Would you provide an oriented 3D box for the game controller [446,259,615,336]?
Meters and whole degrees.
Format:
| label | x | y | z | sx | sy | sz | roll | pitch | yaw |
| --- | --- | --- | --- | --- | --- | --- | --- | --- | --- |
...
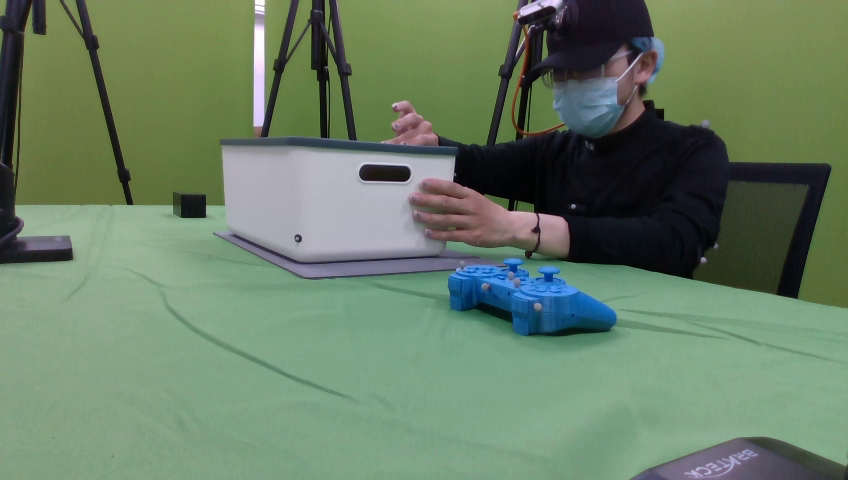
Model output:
| label | x | y | z | sx | sy | sz | roll | pitch | yaw |
| --- | --- | --- | --- | --- | --- | --- | --- | --- | --- |
| game controller | 0.091 | 0.048 | 0.562 | 0.097 | 0.051 | 0.154 | -6 | 10 | -32 |

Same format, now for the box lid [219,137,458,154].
| label | x | y | z | sx | sy | sz | roll | pitch | yaw |
| --- | --- | --- | --- | --- | --- | --- | --- | --- | --- |
| box lid | -0.145 | -0.144 | 0.943 | 0.265 | 0.015 | 0.369 | -3 | 9 | -33 |

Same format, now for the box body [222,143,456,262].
| label | x | y | z | sx | sy | sz | roll | pitch | yaw |
| --- | --- | --- | --- | --- | --- | --- | --- | --- | --- |
| box body | -0.149 | -0.073 | 0.955 | 0.255 | 0.160 | 0.362 | -3 | 9 | -33 |
